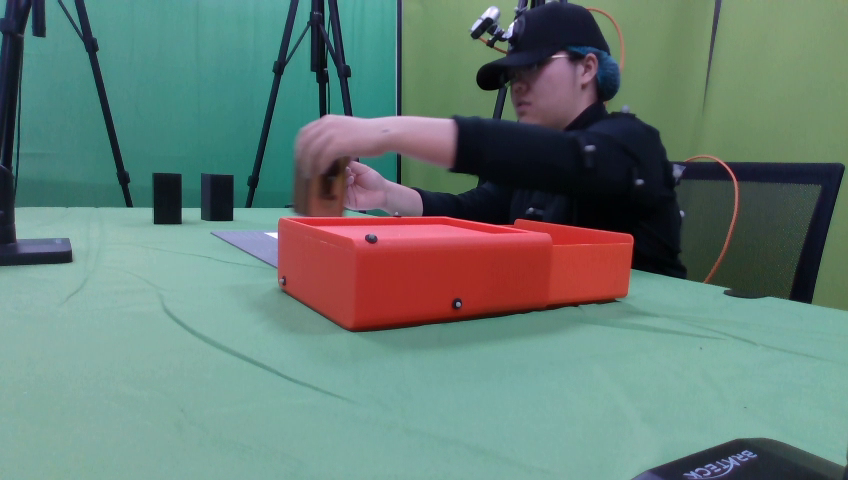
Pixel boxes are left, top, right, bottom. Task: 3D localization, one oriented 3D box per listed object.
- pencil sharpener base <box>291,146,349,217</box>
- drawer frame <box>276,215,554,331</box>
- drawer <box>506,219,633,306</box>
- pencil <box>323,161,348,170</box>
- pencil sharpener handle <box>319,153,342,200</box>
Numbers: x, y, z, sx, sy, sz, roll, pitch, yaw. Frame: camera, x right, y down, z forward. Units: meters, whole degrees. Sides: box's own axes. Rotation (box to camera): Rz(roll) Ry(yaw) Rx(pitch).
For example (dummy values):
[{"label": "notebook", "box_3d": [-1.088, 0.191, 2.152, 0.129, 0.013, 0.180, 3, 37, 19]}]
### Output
[{"label": "pencil sharpener base", "box_3d": [-0.157, -0.085, 0.913, 0.062, 0.107, 0.076, 2, 7, -32]}, {"label": "drawer frame", "box_3d": [-0.015, 0.022, 0.610, 0.215, 0.082, 0.200, -3, 9, -32]}, {"label": "drawer", "box_3d": [0.085, 0.021, 0.673, 0.213, 0.073, 0.193, -2, 9, -32]}, {"label": "pencil", "box_3d": [-0.159, -0.133, 1.088, 0.012, 0.012, 0.193, 0, 9, -20]}, {"label": "pencil sharpener handle", "box_3d": [-0.130, -0.090, 0.868, 0.036, 0.067, 0.030, 7, 5, -32]}]
